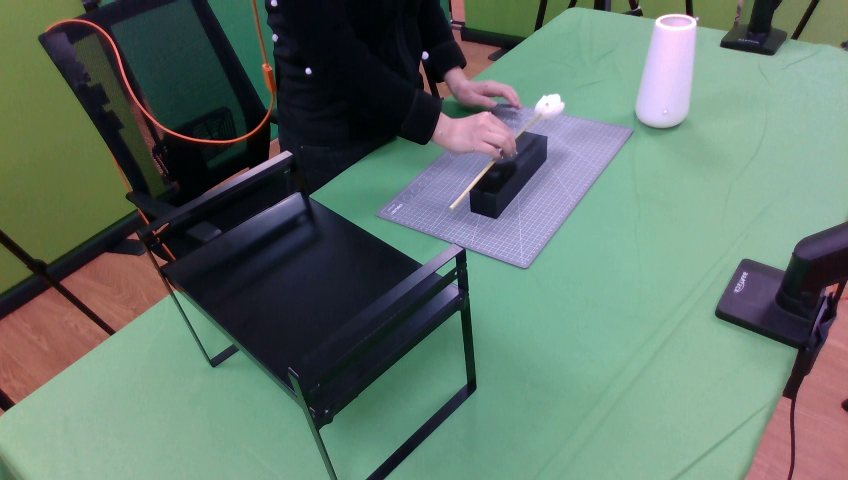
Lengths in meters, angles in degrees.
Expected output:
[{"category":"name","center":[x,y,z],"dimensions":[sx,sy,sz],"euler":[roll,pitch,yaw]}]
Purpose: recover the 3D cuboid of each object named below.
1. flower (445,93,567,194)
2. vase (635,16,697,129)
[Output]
[{"category":"flower","center":[0.144,-0.168,1.034],"dimensions":[0.044,0.038,0.363],"euler":[36,52,16]},{"category":"vase","center":[0.456,-0.310,1.132],"dimensions":[0.098,0.201,0.097],"euler":[-4,42,4]}]
